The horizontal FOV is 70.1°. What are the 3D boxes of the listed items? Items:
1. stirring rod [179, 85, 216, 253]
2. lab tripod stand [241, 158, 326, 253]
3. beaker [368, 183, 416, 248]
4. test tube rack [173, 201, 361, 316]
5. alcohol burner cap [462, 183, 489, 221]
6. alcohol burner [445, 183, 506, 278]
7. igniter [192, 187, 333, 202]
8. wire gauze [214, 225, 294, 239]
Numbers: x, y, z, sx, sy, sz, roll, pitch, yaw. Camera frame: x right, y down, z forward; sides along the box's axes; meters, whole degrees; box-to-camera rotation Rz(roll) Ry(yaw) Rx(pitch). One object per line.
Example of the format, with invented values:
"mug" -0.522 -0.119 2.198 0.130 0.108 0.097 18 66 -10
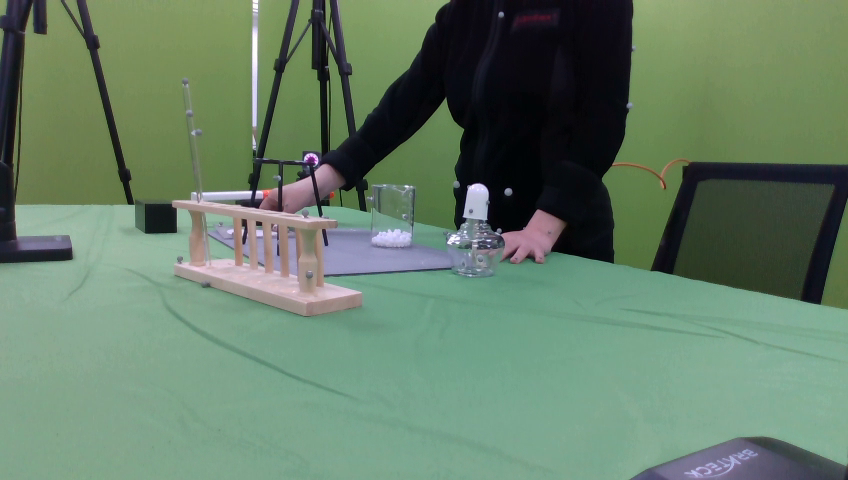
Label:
"stirring rod" -0.237 -0.073 0.634 0.006 0.176 0.014 1 10 42
"lab tripod stand" -0.207 -0.054 0.895 0.148 0.131 0.148 2 5 0
"beaker" -0.051 -0.039 0.971 0.074 0.100 0.083 -1 9 -25
"test tube rack" -0.169 0.010 0.622 0.241 0.085 0.067 9 10 41
"alcohol burner cap" 0.067 -0.048 0.765 0.034 0.048 0.034 5 5 0
"alcohol burner" 0.065 -0.013 0.770 0.078 0.119 0.078 0 7 0
"igniter" -0.316 -0.090 1.213 0.278 0.025 0.057 -5 12 -31
"wire gauze" -0.294 -0.014 1.049 0.122 0.011 0.124 1 6 -28
